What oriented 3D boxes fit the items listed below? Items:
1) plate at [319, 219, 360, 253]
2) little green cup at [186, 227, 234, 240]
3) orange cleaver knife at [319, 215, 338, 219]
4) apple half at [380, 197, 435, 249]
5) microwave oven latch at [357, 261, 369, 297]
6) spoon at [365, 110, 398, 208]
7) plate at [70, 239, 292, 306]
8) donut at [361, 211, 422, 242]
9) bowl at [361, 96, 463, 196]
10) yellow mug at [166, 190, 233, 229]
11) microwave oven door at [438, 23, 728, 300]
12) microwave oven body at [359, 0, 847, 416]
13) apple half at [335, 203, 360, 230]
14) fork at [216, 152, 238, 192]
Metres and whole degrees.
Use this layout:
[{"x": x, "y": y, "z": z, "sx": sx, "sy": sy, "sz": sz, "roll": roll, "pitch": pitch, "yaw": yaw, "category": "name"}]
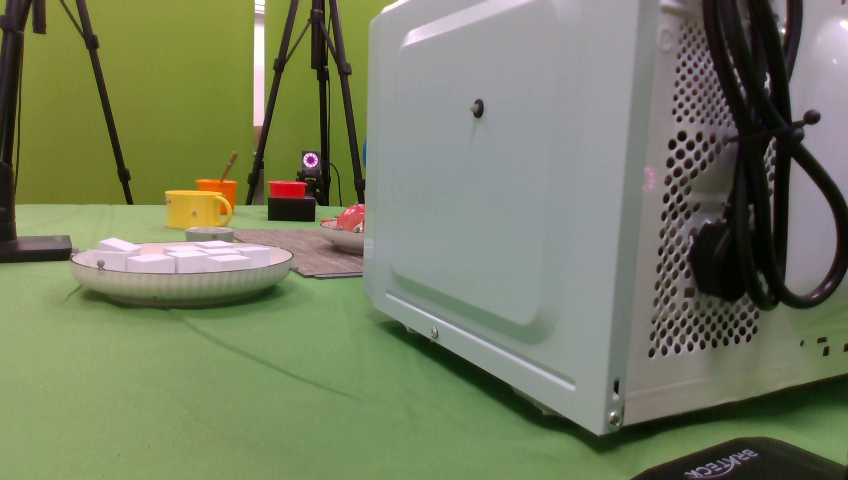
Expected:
[{"x": -0.058, "y": -0.006, "z": 0.939, "sx": 0.209, "sy": 0.038, "sz": 0.209, "roll": 3, "pitch": 8, "yaw": 0, "category": "plate"}, {"x": -0.285, "y": 0.005, "z": 0.805, "sx": 0.061, "sy": 0.038, "sz": 0.061, "roll": 2, "pitch": 8, "yaw": 0, "category": "little green cup"}, {"x": -0.142, "y": -0.057, "z": 1.394, "sx": 0.077, "sy": 0.012, "sz": 0.212, "roll": 2, "pitch": 7, "yaw": 44, "category": "orange cleaver knife"}, {"x": -0.020, "y": -0.030, "z": 0.890, "sx": 0.081, "sy": 0.053, "sz": 0.074, "roll": -2, "pitch": 49, "yaw": -25, "category": "apple half"}, {"x": -0.019, "y": 0.033, "z": 0.531, "sx": 0.079, "sy": 0.029, "sz": 0.030, "roll": -1, "pitch": 7, "yaw": -27, "category": "microwave oven latch"}, {"x": -0.072, "y": -0.135, "z": 0.987, "sx": 0.021, "sy": 0.193, "sz": 0.042, "roll": -21, "pitch": -26, "yaw": 20, "category": "spoon"}, {"x": -0.242, "y": 0.032, "z": 0.618, "sx": 0.208, "sy": 0.039, "sz": 0.207, "roll": 3, "pitch": 8, "yaw": 0, "category": "plate"}, {"x": -0.051, "y": -0.020, "z": 0.957, "sx": 0.099, "sy": 0.048, "sz": 0.099, "roll": 5, "pitch": 6, "yaw": 0, "category": "donut"}, {"x": -0.004, "y": -0.114, "z": 0.842, "sx": 0.152, "sy": 0.151, "sz": 0.076, "roll": -2, "pitch": 40, "yaw": -29, "category": "bowl"}, {"x": -0.415, "y": -0.057, "z": 1.132, "sx": 0.130, "sy": 0.064, "sz": 0.100, "roll": 6, "pitch": 8, "yaw": 16, "category": "yellow mug"}, {"x": 0.181, "y": -0.072, "z": 0.621, "sx": 0.358, "sy": 0.243, "sz": 0.039, "roll": -2, "pitch": 8, "yaw": -29, "category": "microwave oven door"}, {"x": 0.211, "y": -0.047, "z": 0.474, "sx": 0.444, "sy": 0.260, "sz": 0.324, "roll": -1, "pitch": 7, "yaw": -28, "category": "microwave oven body"}, {"x": -0.116, "y": -0.038, "z": 0.960, "sx": 0.081, "sy": 0.033, "sz": 0.081, "roll": -37, "pitch": 8, "yaw": 7, "category": "apple half"}, {"x": -0.455, "y": -0.132, "z": 1.367, "sx": 0.028, "sy": 0.018, "sz": 0.207, "roll": -2, "pitch": -35, "yaw": -38, "category": "fork"}]
